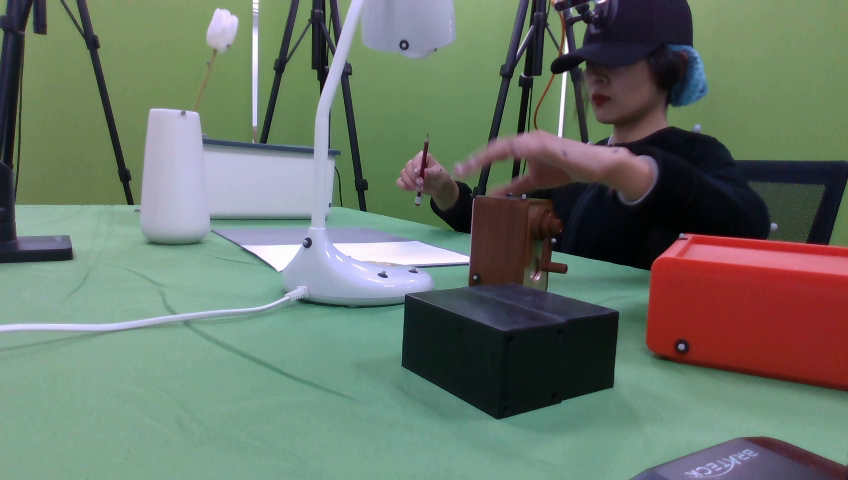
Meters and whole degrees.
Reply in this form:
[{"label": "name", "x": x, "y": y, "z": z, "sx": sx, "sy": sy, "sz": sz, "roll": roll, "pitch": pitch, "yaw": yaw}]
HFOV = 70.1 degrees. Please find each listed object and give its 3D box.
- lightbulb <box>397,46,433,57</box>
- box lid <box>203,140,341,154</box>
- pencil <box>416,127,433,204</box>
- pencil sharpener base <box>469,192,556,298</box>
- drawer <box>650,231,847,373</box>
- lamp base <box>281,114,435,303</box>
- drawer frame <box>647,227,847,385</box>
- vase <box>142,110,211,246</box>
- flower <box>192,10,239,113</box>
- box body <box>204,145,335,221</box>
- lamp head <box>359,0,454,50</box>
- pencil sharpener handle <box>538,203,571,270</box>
[{"label": "lightbulb", "x": -0.017, "y": -0.265, "z": 0.692, "sx": 0.059, "sy": 0.108, "sz": 0.059, "roll": -9, "pitch": 28, "yaw": 5}, {"label": "box lid", "x": -0.396, "y": -0.213, "z": 1.373, "sx": 0.373, "sy": 0.015, "sz": 0.262, "roll": -1, "pitch": 9, "yaw": -29}, {"label": "pencil", "x": 0.002, "y": -0.128, "z": 1.076, "sx": 0.012, "sy": 0.012, "sz": 0.194, "roll": 4, "pitch": -37, "yaw": -6}, {"label": "pencil sharpener base", "x": 0.097, "y": 0.003, "z": 0.652, "sx": 0.076, "sy": 0.107, "sz": 0.061, "roll": 8, "pitch": 9, "yaw": 38}, {"label": "drawer", "x": 0.303, "y": 0.044, "z": 0.499, "sx": 0.194, "sy": 0.073, "sz": 0.212, "roll": 7, "pitch": 10, "yaw": 27}, {"label": "lamp base", "x": -0.071, "y": -0.035, "z": 0.614, "sx": 0.160, "sy": 0.180, "sz": 0.180, "roll": 6, "pitch": 10, "yaw": 27}, {"label": "drawer frame", "x": 0.303, "y": 0.043, "z": 0.495, "sx": 0.201, "sy": 0.082, "sz": 0.214, "roll": 6, "pitch": 9, "yaw": 26}, {"label": "vase", "x": -0.378, "y": -0.093, "z": 0.920, "sx": 0.098, "sy": 0.200, "sz": 0.098, "roll": 2, "pitch": 9, "yaw": 0}, {"label": "flower", "x": -0.354, "y": -0.174, "z": 0.915, "sx": 0.038, "sy": 0.361, "sz": 0.044, "roll": 18, "pitch": -3, "yaw": 12}, {"label": "box body", "x": -0.411, "y": -0.135, "z": 1.386, "sx": 0.366, "sy": 0.160, "sz": 0.253, "roll": -2, "pitch": 9, "yaw": -29}, {"label": "lamp head", "x": -0.024, "y": -0.283, "z": 0.674, "sx": 0.112, "sy": 0.123, "sz": 0.112, "roll": -3, "pitch": 38, "yaw": 3}, {"label": "pencil sharpener handle", "x": 0.137, "y": -0.003, "z": 0.619, "sx": 0.030, "sy": 0.067, "sz": 0.036, "roll": 8, "pitch": 6, "yaw": 38}]
